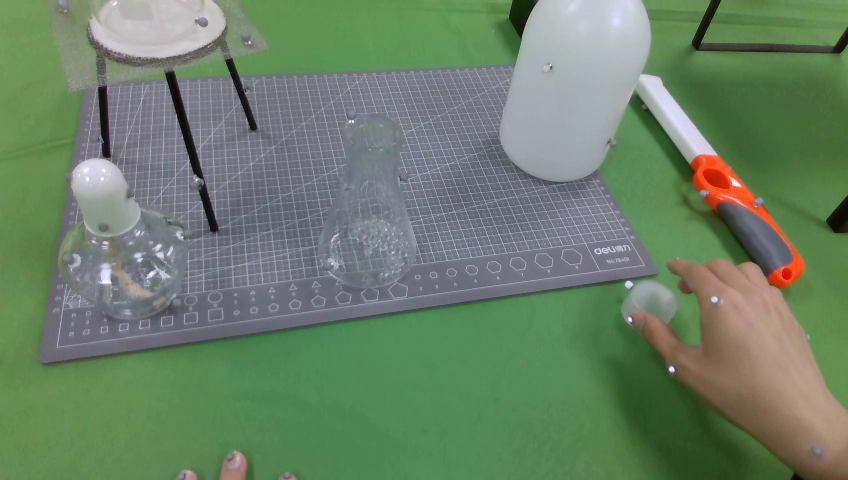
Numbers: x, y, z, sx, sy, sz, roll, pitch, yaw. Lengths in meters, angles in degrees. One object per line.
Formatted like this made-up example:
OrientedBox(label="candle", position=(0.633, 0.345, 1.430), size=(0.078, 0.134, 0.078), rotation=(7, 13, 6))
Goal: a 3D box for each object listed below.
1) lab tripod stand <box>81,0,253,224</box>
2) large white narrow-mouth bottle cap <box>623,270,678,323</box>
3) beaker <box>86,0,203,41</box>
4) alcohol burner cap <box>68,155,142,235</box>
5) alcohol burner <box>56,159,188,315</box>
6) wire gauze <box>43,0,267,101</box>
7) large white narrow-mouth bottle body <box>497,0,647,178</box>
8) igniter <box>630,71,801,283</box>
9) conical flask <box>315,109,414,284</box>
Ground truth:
OrientedBox(label="lab tripod stand", position=(-0.186, -0.104, 0.455), size=(0.149, 0.132, 0.147), rotation=(6, 49, -6))
OrientedBox(label="large white narrow-mouth bottle cap", position=(0.173, 0.043, 0.463), size=(0.038, 0.024, 0.037), rotation=(4, 49, -4))
OrientedBox(label="beaker", position=(-0.181, -0.182, 0.370), size=(0.084, 0.101, 0.073), rotation=(-12, 54, -18))
OrientedBox(label="alcohol burner cap", position=(-0.189, -0.028, 0.355), size=(0.034, 0.048, 0.033), rotation=(4, 55, -6))
OrientedBox(label="alcohol burner", position=(-0.193, -0.006, 0.383), size=(0.078, 0.120, 0.077), rotation=(6, 48, -6))
OrientedBox(label="wire gauze", position=(-0.182, -0.148, 0.406), size=(0.122, 0.011, 0.124), rotation=(-19, 59, -21))
OrientedBox(label="large white narrow-mouth bottle body", position=(0.126, -0.151, 0.502), size=(0.102, 0.196, 0.101), rotation=(4, 49, -4))
OrientedBox(label="igniter", position=(0.264, -0.071, 0.569), size=(0.057, 0.025, 0.273), rotation=(1, 49, -21))
OrientedBox(label="conical flask", position=(-0.039, -0.031, 0.423), size=(0.075, 0.123, 0.074), rotation=(4, 49, -5))
